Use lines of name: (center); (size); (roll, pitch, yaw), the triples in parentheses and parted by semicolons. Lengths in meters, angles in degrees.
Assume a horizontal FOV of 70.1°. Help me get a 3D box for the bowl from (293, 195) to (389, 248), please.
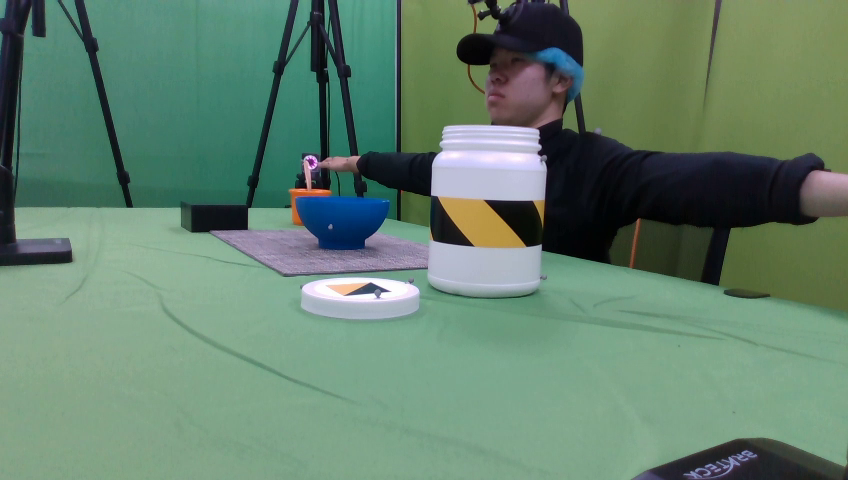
bowl: (-0.132, -0.029, 0.962); (0.151, 0.077, 0.151); (2, 7, 0)

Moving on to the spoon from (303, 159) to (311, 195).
spoon: (-0.256, -0.113, 1.341); (0.042, 0.193, 0.021); (3, -38, -18)

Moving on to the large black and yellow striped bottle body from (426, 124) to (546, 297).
large black and yellow striped bottle body: (0.070, -0.037, 0.689); (0.131, 0.184, 0.130); (2, 7, 0)

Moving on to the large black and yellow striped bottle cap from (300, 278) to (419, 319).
large black and yellow striped bottle cap: (-0.062, 0.055, 0.588); (0.115, 0.019, 0.115); (1, 6, 0)
